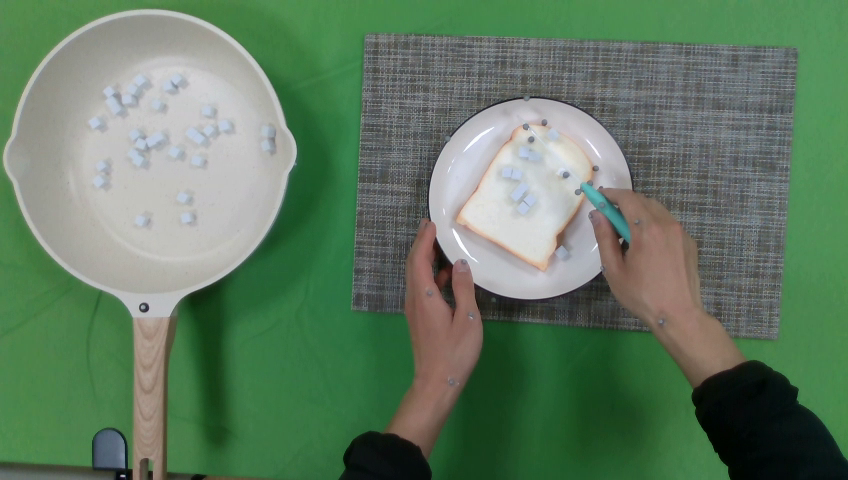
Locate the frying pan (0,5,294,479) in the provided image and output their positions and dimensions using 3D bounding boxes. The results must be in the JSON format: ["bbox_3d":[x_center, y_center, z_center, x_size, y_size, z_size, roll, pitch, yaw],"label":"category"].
[{"bbox_3d":[-0.278,0.013,0.627,0.306,0.103,0.486,-1,84,5],"label":"frying pan"}]

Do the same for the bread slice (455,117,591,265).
[{"bbox_3d":[0.107,-0.057,0.628,0.107,0.018,0.134,27,95,2],"label":"bread slice"}]

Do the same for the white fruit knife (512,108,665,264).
[{"bbox_3d":[0.156,-0.055,0.585,0.016,0.027,0.206,-45,80,14],"label":"white fruit knife"}]

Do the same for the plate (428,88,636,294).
[{"bbox_3d":[0.109,-0.049,0.626,0.207,0.039,0.207,0,92,4],"label":"plate"}]
